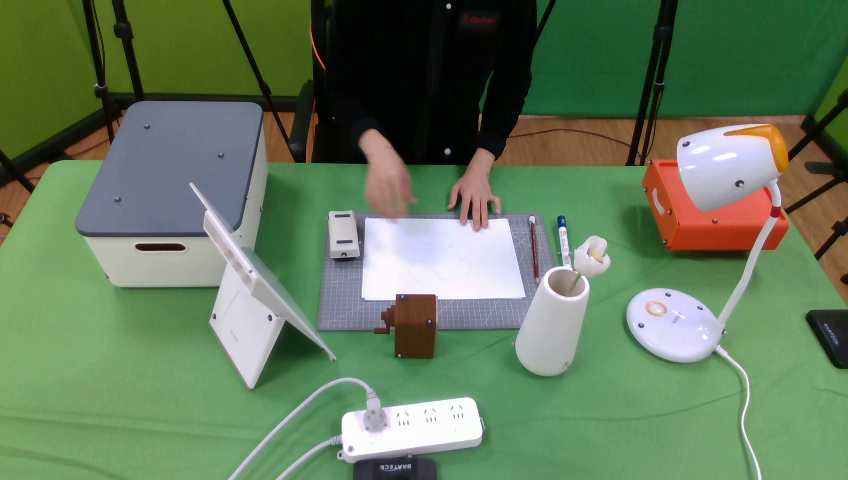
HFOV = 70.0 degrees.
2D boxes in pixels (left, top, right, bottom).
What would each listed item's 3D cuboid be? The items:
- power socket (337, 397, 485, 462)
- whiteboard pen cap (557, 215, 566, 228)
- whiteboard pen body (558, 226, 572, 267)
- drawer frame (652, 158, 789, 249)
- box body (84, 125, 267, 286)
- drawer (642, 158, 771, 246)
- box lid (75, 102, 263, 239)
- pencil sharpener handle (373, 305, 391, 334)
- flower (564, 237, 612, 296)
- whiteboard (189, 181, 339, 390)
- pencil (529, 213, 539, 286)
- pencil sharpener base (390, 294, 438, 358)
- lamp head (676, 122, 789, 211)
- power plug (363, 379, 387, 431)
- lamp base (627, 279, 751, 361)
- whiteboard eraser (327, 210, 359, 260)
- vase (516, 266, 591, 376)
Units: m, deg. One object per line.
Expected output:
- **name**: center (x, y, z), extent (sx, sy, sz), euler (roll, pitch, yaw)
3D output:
- **power socket**: center (-0.018, 0.285, 0.915), extent (0.227, 0.033, 0.071), euler (-5, 46, -8)
- **whiteboard pen cap**: center (0.284, -0.035, 1.246), extent (0.018, 0.018, 0.033), euler (4, 52, -1)
- **whiteboard pen body**: center (0.280, 0.010, 1.208), extent (0.017, 0.017, 0.140), euler (3, 50, -1)
- **drawer frame**: center (0.571, -0.075, 1.214), extent (0.214, 0.083, 0.200), euler (0, 45, -1)
- **box body**: center (-0.446, -0.088, 1.150), extent (0.254, 0.161, 0.361), euler (-1, 46, -5)
- **drawer**: center (0.565, -0.076, 1.211), extent (0.212, 0.073, 0.193), euler (2, 45, -2)
- **box lid**: center (-0.442, -0.138, 1.094), extent (0.263, 0.015, 0.369), euler (-1, 47, -5)
- **pencil sharpener handle**: center (-0.069, 0.133, 0.989), extent (0.030, 0.068, 0.036), euler (1, 47, -2)
- **flower**: center (0.206, 0.088, 0.893), extent (0.038, 0.363, 0.044), euler (-17, 67, -9)
- **whiteboard**: center (-0.292, 0.096, 0.929), extent (0.144, 0.307, 0.216), euler (-37, 57, -10)
- **pencil**: center (0.220, 0.016, 1.205), extent (0.012, 0.012, 0.193), euler (5, 48, 0)
- **pencil sharpener base**: center (-0.018, 0.143, 1.000), extent (0.077, 0.107, 0.061), euler (1, 46, -2)
- **lamp head**: center (0.423, -0.104, 0.819), extent (0.122, 0.113, 0.112), euler (-13, 33, 40)
- **power plug**: center (-0.072, 0.252, 0.910), extent (0.035, 0.053, 0.072), euler (3, 45, -1)
- **lamp base**: center (0.459, 0.100, 1.027), extent (0.178, 0.181, 0.160), euler (27, 51, 17)
- **whiteboard eraser**: center (-0.158, -0.009, 1.177), extent (0.055, 0.042, 0.112), euler (-6, 47, -7)
- **vase**: center (0.208, 0.132, 0.964), extent (0.098, 0.201, 0.097), euler (3, 46, -3)
